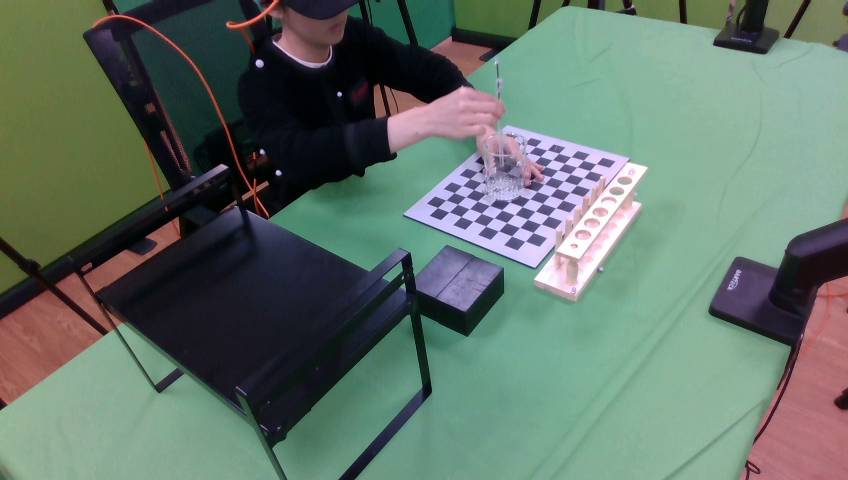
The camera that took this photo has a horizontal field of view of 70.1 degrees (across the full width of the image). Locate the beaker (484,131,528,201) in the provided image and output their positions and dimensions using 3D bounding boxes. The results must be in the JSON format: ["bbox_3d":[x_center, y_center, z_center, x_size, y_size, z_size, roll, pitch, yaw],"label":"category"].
[{"bbox_3d":[0.143,-0.126,1.035,0.073,0.101,0.084,25,50,32],"label":"beaker"}]

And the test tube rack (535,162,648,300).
[{"bbox_3d":[0.257,-0.024,0.916,0.066,0.085,0.243,22,49,30],"label":"test tube rack"}]

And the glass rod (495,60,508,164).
[{"bbox_3d":[0.123,-0.194,0.947,0.008,0.201,0.008,-6,49,7],"label":"glass rod"}]
